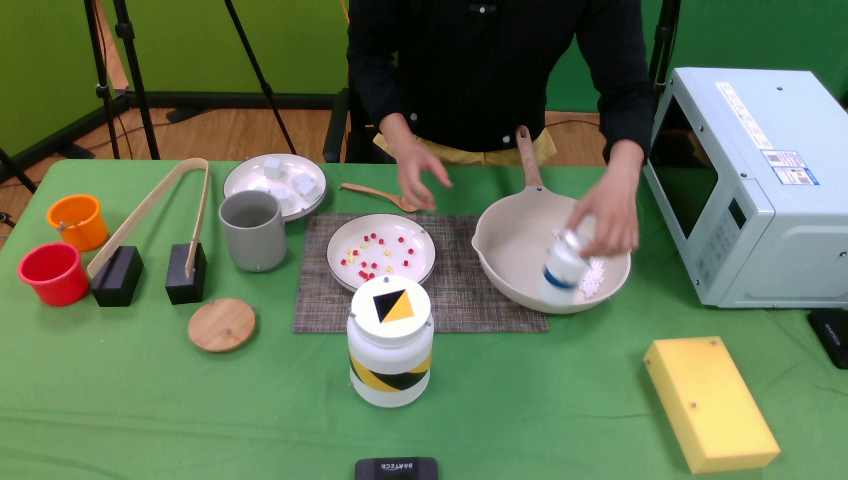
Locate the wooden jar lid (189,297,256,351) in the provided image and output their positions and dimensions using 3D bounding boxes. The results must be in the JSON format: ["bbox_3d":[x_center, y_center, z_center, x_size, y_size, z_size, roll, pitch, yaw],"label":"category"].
[{"bbox_3d":[-0.342,0.145,1.033,0.108,0.021,0.107,2,45,-2],"label":"wooden jar lid"}]

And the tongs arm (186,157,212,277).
[{"bbox_3d":[-0.445,-0.058,1.168,0.051,0.026,0.382,-5,37,-6],"label":"tongs arm"}]

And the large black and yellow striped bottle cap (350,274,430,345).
[{"bbox_3d":[-0.048,0.097,0.868,0.115,0.019,0.114,3,48,-3],"label":"large black and yellow striped bottle cap"}]

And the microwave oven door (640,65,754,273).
[{"bbox_3d":[0.524,-0.148,1.193,0.039,0.245,0.353,0,47,-3],"label":"microwave oven door"}]

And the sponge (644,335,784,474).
[{"bbox_3d":[0.449,0.253,0.956,0.118,0.061,0.205,-4,46,-7],"label":"sponge"}]

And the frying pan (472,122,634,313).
[{"bbox_3d":[0.236,-0.061,1.208,0.307,0.103,0.484,1,55,-6],"label":"frying pan"}]

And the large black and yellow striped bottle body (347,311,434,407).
[{"bbox_3d":[-0.052,0.157,0.929,0.131,0.185,0.130,2,47,-2],"label":"large black and yellow striped bottle body"}]

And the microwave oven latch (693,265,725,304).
[{"bbox_3d":[0.523,0.081,1.116,0.030,0.029,0.078,2,46,-1],"label":"microwave oven latch"}]

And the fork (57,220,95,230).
[{"bbox_3d":[-0.624,-0.027,1.086,0.028,0.207,0.018,-3,92,-17],"label":"fork"}]

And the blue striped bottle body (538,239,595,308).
[{"bbox_3d":[0.226,0.044,0.952,0.063,0.121,0.062,8,40,-6],"label":"blue striped bottle body"}]

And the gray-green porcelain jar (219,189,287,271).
[{"bbox_3d":[-0.309,-0.014,1.113,0.106,0.127,0.105,2,46,-2],"label":"gray-green porcelain jar"}]

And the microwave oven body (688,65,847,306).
[{"bbox_3d":[0.669,-0.111,1.176,0.326,0.261,0.439,0,46,-3],"label":"microwave oven body"}]

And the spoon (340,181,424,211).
[{"bbox_3d":[-0.090,-0.100,1.282,0.193,0.022,0.041,18,65,13],"label":"spoon"}]

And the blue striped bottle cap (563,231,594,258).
[{"bbox_3d":[0.235,0.007,0.919,0.044,0.021,0.044,7,37,-5],"label":"blue striped bottle cap"}]

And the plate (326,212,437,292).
[{"bbox_3d":[-0.080,0.030,1.143,0.209,0.038,0.208,2,46,-2],"label":"plate"}]

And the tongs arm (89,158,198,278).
[{"bbox_3d":[-0.529,-0.057,1.164,0.028,0.028,0.385,1,36,8],"label":"tongs arm"}]

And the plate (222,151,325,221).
[{"bbox_3d":[-0.310,-0.106,1.263,0.208,0.039,0.206,3,47,-2],"label":"plate"}]
